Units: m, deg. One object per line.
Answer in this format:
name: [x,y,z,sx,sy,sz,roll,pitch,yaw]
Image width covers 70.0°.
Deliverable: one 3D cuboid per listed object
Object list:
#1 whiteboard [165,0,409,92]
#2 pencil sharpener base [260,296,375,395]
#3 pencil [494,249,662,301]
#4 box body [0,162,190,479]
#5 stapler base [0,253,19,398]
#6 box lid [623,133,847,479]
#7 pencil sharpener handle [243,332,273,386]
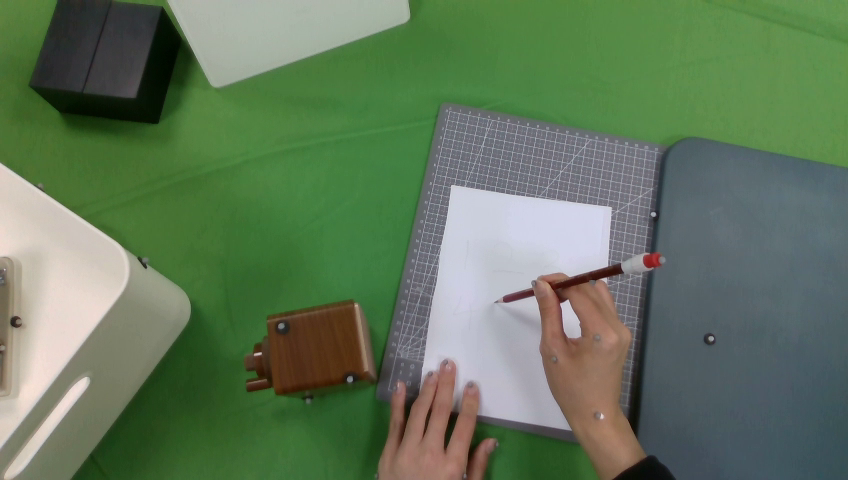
whiteboard: [-0.156,-0.325,0.534,0.217,0.308,0.142,-21,57,-7]
pencil sharpener base: [-0.085,0.090,0.496,0.077,0.107,0.061,-10,75,-4]
pencil: [0.108,0.033,0.477,0.012,0.194,0.012,7,73,-25]
box body: [-0.406,0.041,0.470,0.363,0.161,0.253,32,76,7]
stapler base: [-0.381,0.073,0.528,0.041,0.024,0.130,-9,77,-2]
box lid: [0.331,0.086,0.560,0.263,0.015,0.369,11,75,0]
pencil sharpener handle: [-0.134,0.100,0.479,0.031,0.068,0.035,-10,59,-4]
